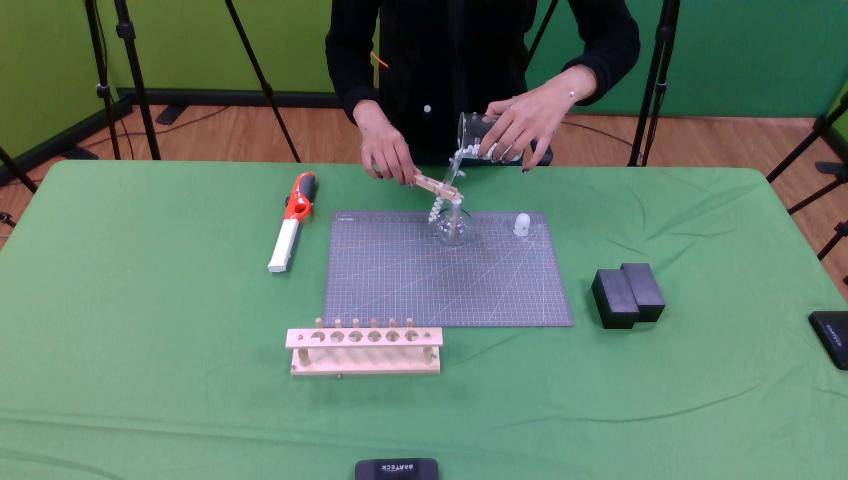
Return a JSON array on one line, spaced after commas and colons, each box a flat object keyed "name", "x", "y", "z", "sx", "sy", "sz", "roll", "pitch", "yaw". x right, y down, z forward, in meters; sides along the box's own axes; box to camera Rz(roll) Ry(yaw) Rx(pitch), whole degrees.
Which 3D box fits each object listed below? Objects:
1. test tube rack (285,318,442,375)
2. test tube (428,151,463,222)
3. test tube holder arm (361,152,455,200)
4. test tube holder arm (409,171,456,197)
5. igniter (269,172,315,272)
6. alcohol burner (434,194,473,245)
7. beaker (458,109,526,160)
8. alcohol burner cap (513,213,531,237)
[{"name": "test tube rack", "x": -0.095, "y": 0.168, "z": 0.986, "sx": 0.242, "sy": 0.085, "sz": 0.066, "roll": 0, "pitch": 46, "yaw": -4}, {"name": "test tube", "x": 0.035, "y": -0.088, "z": 1.036, "sx": 0.017, "sy": 0.151, "sz": 0.017, "roll": 14, "pitch": 39, "yaw": -11}, {"name": "test tube holder arm", "x": -0.029, "y": -0.112, "z": 1.046, "sx": 0.178, "sy": 0.015, "sz": 0.013, "roll": 25, "pitch": 32, "yaw": 10}, {"name": "test tube holder arm", "x": 0.013, "y": -0.097, "z": 1.045, "sx": 0.088, "sy": 0.015, "sz": 0.010, "roll": 21, "pitch": 33, "yaw": 4}, {"name": "igniter", "x": -0.263, "y": -0.045, "z": 1.219, "sx": 0.057, "sy": 0.025, "sz": 0.275, "roll": -2, "pitch": 45, "yaw": 8}, {"name": "alcohol burner", "x": 0.059, "y": -0.046, "z": 1.179, "sx": 0.078, "sy": 0.120, "sz": 0.077, "roll": 1, "pitch": 48, "yaw": -1}, {"name": "beaker", "x": 0.106, "y": -0.163, "z": 0.963, "sx": 0.100, "sy": 0.084, "sz": 0.073, "roll": 2, "pitch": 54, "yaw": -4}, {"name": "alcohol burner cap", "x": 0.200, "y": -0.034, "z": 1.227, "sx": 0.034, "sy": 0.048, "sz": 0.033, "roll": 1, "pitch": 45, "yaw": -1}]
